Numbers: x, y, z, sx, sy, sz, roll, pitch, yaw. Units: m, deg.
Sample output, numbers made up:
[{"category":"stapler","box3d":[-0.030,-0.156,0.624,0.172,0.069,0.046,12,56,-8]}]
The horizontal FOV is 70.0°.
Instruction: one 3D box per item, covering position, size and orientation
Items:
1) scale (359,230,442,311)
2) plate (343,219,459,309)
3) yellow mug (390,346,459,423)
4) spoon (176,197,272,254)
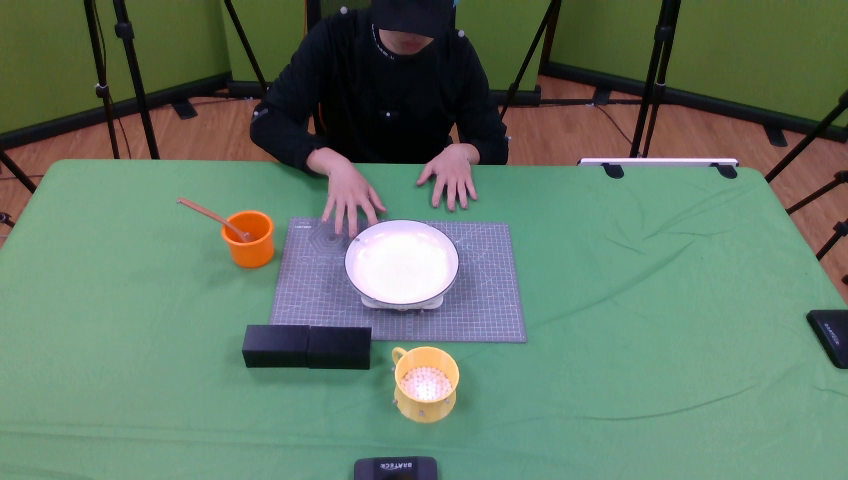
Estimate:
[{"category":"scale","box3d":[-0.043,0.047,1.138,0.149,0.032,0.199,2,46,-3]},{"category":"plate","box3d":[-0.041,0.046,1.094,0.209,0.038,0.208,2,46,-2]},{"category":"yellow mug","box3d":[-0.009,0.217,0.958,0.100,0.064,0.130,-33,56,-31]},{"category":"spoon","box3d":[-0.363,-0.028,1.108,0.021,0.195,0.041,-35,36,24]}]
